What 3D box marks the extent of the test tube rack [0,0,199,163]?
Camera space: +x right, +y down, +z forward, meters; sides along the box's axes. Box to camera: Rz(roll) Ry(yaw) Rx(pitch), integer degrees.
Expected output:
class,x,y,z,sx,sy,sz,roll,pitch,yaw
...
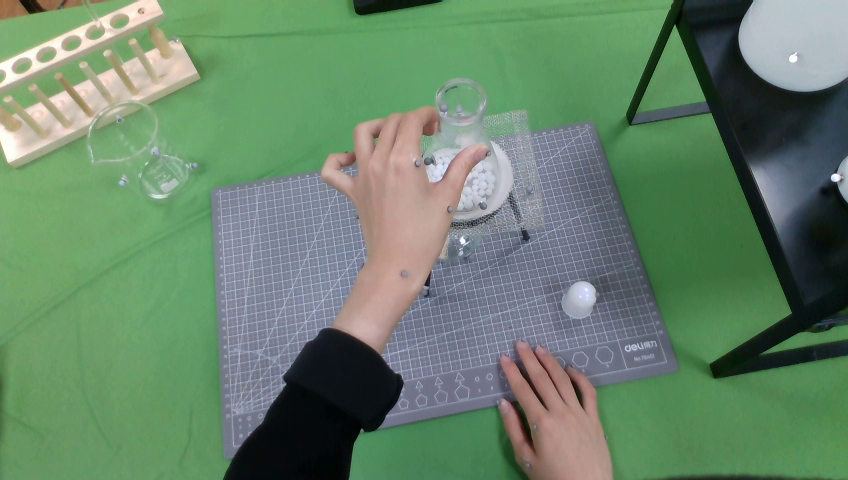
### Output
class,x,y,z,sx,sy,sz,roll,pitch,yaw
test tube rack,-0.404,-0.190,0.712,0.242,0.086,0.066,-29,69,-10

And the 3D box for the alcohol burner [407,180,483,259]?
class,x,y,z,sx,sy,sz,roll,pitch,yaw
alcohol burner,0.022,-0.027,0.609,0.078,0.120,0.077,0,66,0

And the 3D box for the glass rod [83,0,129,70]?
class,x,y,z,sx,sy,sz,roll,pitch,yaw
glass rod,-0.366,-0.257,0.666,0.008,0.201,0.008,1,65,-2

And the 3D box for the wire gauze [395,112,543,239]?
class,x,y,z,sx,sy,sz,roll,pitch,yaw
wire gauze,0.038,-0.062,0.541,0.121,0.011,0.124,-4,65,-2

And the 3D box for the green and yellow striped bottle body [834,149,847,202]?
class,x,y,z,sx,sy,sz,roll,pitch,yaw
green and yellow striped bottle body,0.347,-0.068,0.417,0.063,0.120,0.062,-1,67,3

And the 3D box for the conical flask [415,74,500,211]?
class,x,y,z,sx,sy,sz,roll,pitch,yaw
conical flask,0.027,-0.080,0.484,0.075,0.123,0.075,-1,67,2

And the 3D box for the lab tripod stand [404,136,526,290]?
class,x,y,z,sx,sy,sz,roll,pitch,yaw
lab tripod stand,0.035,-0.031,0.600,0.148,0.132,0.147,0,66,1

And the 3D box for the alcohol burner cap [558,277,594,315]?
class,x,y,z,sx,sy,sz,roll,pitch,yaw
alcohol burner cap,0.155,0.053,0.609,0.034,0.048,0.033,-1,68,2

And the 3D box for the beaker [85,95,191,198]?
class,x,y,z,sx,sy,sz,roll,pitch,yaw
beaker,-0.309,-0.095,0.662,0.073,0.101,0.084,34,73,16

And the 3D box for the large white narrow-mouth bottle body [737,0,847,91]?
class,x,y,z,sx,sy,sz,roll,pitch,yaw
large white narrow-mouth bottle body,0.313,-0.204,0.436,0.102,0.196,0.101,-1,65,2
